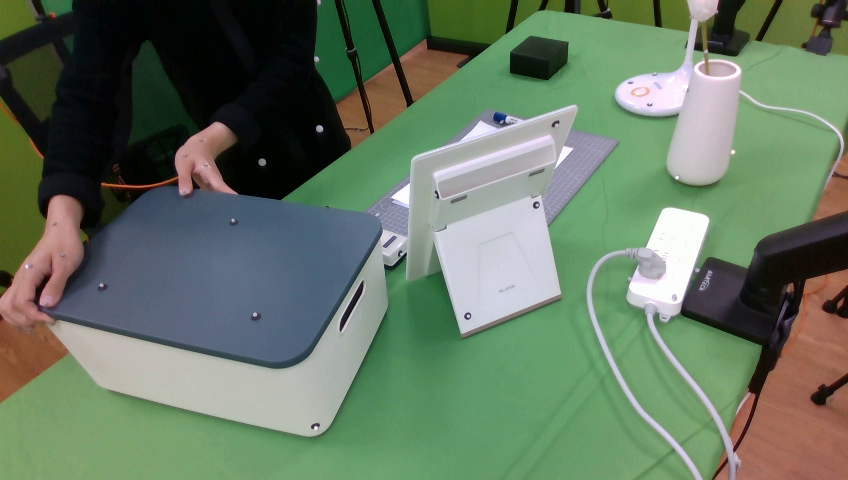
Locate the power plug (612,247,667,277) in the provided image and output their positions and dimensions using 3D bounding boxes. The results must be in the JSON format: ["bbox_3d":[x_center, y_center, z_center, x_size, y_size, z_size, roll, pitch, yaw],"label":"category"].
[{"bbox_3d":[0.306,0.031,0.852,0.072,0.053,0.035,21,48,37],"label":"power plug"}]

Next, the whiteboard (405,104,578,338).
[{"bbox_3d":[0.103,0.003,0.786,0.218,0.306,0.143,-19,62,-14],"label":"whiteboard"}]

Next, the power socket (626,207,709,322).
[{"bbox_3d":[0.360,0.026,0.886,0.072,0.033,0.227,17,46,27],"label":"power socket"}]

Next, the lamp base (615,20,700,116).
[{"bbox_3d":[0.484,-0.364,1.211,0.180,0.181,0.159,-15,41,-14],"label":"lamp base"}]

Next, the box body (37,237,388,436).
[{"bbox_3d":[-0.251,0.087,0.800,0.362,0.161,0.254,7,42,16],"label":"box body"}]

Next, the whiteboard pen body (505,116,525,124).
[{"bbox_3d":[0.203,-0.232,1.213,0.139,0.017,0.017,27,51,36],"label":"whiteboard pen body"}]

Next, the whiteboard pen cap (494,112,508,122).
[{"bbox_3d":[0.161,-0.253,1.248,0.033,0.018,0.018,27,51,36],"label":"whiteboard pen cap"}]

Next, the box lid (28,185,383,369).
[{"bbox_3d":[-0.257,0.027,0.747,0.370,0.015,0.263,8,41,16],"label":"box lid"}]

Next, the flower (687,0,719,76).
[{"bbox_3d":[0.436,-0.242,0.934,0.038,0.364,0.043,-24,49,8],"label":"flower"}]

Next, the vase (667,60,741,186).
[{"bbox_3d":[0.463,-0.189,0.994,0.098,0.201,0.097,-4,40,3],"label":"vase"}]

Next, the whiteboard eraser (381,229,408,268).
[{"bbox_3d":[-0.081,0.007,0.963,0.112,0.042,0.056,19,48,27],"label":"whiteboard eraser"}]
